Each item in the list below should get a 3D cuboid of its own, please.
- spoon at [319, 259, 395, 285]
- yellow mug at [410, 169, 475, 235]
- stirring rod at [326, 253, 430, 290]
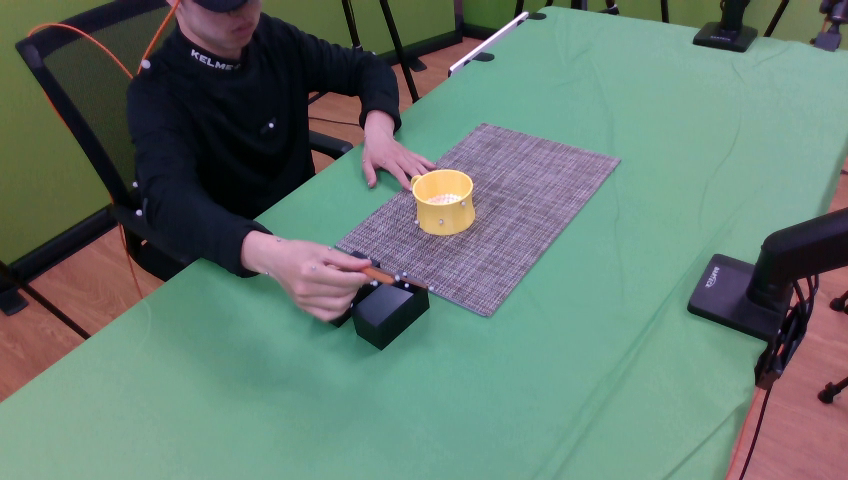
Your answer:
[{"bbox_3d":[-0.091,0.041,0.802,0.042,0.021,0.192,-8,6,-31],"label":"spoon"},{"bbox_3d":[0.022,-0.070,1.007,0.129,0.064,0.100,29,52,36],"label":"yellow mug"},{"bbox_3d":[-0.068,0.043,0.859,0.175,0.006,0.014,17,11,26],"label":"stirring rod"}]
